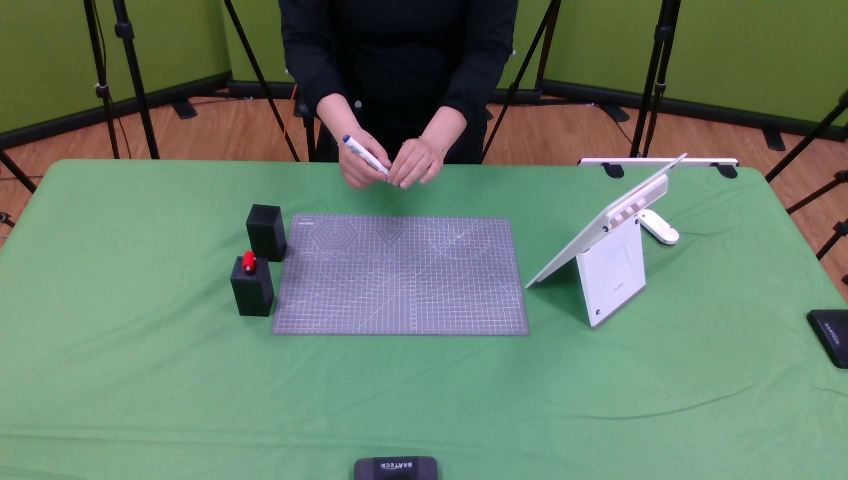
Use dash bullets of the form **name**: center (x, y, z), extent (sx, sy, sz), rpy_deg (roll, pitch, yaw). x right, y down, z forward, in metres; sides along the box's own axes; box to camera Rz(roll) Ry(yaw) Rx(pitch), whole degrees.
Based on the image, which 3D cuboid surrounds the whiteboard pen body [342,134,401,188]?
- **whiteboard pen body**: center (-0.089, -0.134, 1.056), extent (0.017, 0.141, 0.016), rpy_deg (-34, 32, 26)

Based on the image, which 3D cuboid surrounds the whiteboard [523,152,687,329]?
- **whiteboard**: center (0.346, 0.025, 1.047), extent (0.217, 0.306, 0.143), rpy_deg (-30, 74, -29)

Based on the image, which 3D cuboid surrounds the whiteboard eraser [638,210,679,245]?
- **whiteboard eraser**: center (0.485, -0.027, 1.260), extent (0.041, 0.019, 0.100), rpy_deg (-21, 50, -21)

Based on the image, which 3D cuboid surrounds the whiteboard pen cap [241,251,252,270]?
- **whiteboard pen cap**: center (-0.294, 0.033, 1.005), extent (0.017, 0.017, 0.032), rpy_deg (-3, 45, -7)
